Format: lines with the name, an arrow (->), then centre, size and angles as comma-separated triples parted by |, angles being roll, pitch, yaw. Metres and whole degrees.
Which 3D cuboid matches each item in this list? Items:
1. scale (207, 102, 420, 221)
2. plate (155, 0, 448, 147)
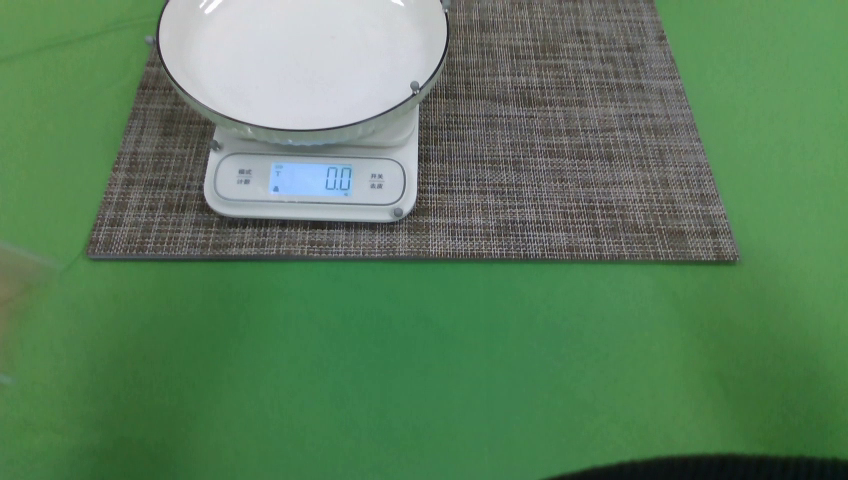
scale -> -0.078, -0.105, 0.465 | 0.149, 0.032, 0.199 | 2, 58, -2
plate -> -0.086, -0.145, 0.451 | 0.208, 0.039, 0.205 | 2, 58, -3
